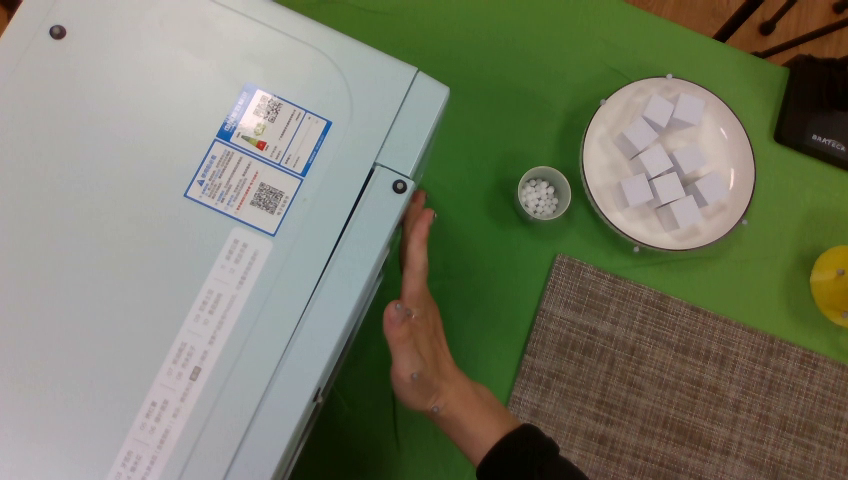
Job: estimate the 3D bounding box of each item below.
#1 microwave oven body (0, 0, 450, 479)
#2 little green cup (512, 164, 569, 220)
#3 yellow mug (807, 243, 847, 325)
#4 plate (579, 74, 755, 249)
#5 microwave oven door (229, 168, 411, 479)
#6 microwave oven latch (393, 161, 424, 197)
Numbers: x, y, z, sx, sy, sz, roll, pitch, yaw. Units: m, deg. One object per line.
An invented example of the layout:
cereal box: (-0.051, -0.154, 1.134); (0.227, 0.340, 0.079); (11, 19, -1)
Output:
microwave oven body: (-0.224, 0.028, 0.520); (0.326, 0.260, 0.440); (24, 80, -2)
little green cup: (0.129, -0.052, 0.685); (0.061, 0.038, 0.061); (1, 82, -6)
yellow mug: (0.513, 0.063, 0.697); (0.100, 0.064, 0.130); (-7, 83, -8)
plate: (0.279, -0.090, 0.709); (0.208, 0.039, 0.207); (1, 81, -6)
microwave oven door: (-0.106, 0.126, 0.513); (0.039, 0.244, 0.355); (25, 80, -1)
microwave oven latch: (-0.028, -0.056, 0.651); (0.030, 0.029, 0.079); (27, 80, -2)
